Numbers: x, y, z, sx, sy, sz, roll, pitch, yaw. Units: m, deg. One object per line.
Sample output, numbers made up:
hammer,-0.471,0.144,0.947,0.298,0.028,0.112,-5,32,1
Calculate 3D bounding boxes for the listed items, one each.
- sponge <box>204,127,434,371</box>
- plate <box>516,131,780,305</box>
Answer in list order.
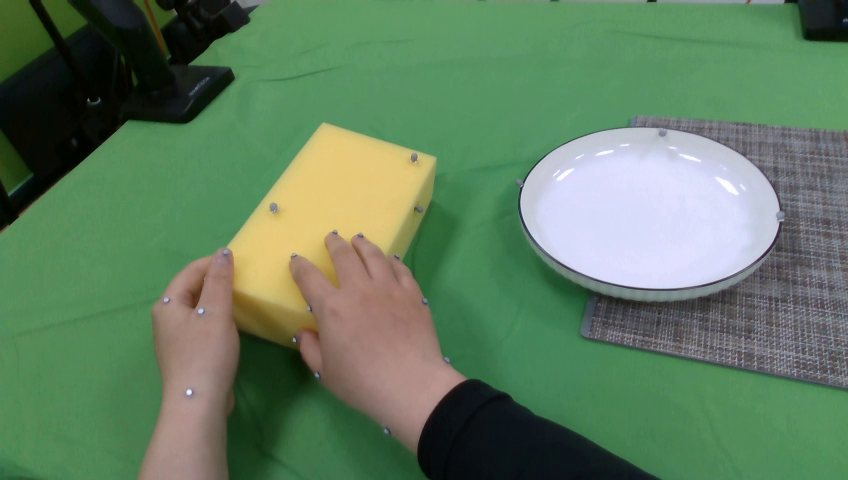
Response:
sponge,-0.079,-0.002,0.526,0.118,0.061,0.205,17,49,8
plate,0.185,-0.020,0.520,0.209,0.038,0.207,-6,44,6
